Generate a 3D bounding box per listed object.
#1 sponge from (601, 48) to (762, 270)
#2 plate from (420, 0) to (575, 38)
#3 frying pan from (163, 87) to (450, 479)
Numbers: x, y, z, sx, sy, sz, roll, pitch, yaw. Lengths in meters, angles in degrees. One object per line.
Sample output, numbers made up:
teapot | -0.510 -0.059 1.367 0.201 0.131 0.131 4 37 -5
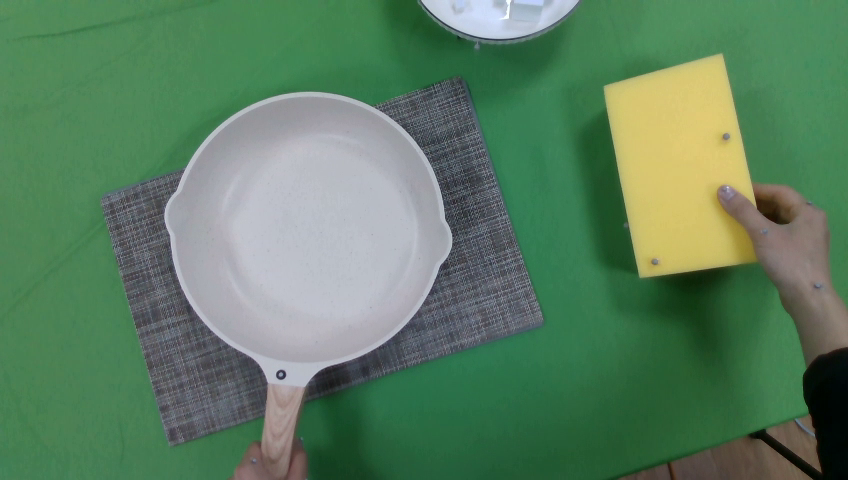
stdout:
sponge | 0.266 -0.078 0.633 0.118 0.061 0.206 -12 86 23
plate | 0.078 -0.313 0.647 0.207 0.039 0.207 0 86 1
frying pan | -0.137 0.085 0.644 0.306 0.103 0.485 7 78 5
